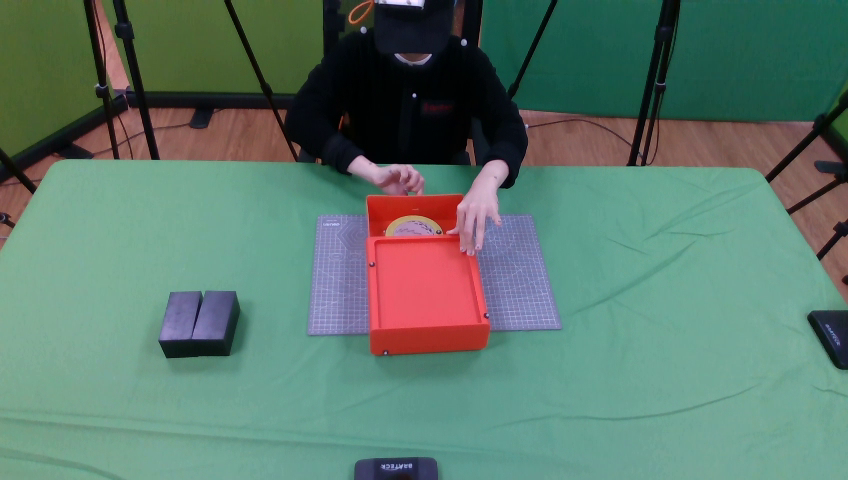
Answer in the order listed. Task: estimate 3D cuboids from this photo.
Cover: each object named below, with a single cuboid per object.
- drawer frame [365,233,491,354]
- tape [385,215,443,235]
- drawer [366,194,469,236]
[{"bbox_3d":[0.000,0.088,1.066,0.202,0.083,0.212,-2,47,-7],"label":"drawer frame"},{"bbox_3d":[-0.019,0.009,1.153,0.117,0.053,0.116,2,46,-1],"label":"tape"},{"bbox_3d":[-0.011,0.007,1.147,0.195,0.073,0.210,-1,46,-6],"label":"drawer"}]
